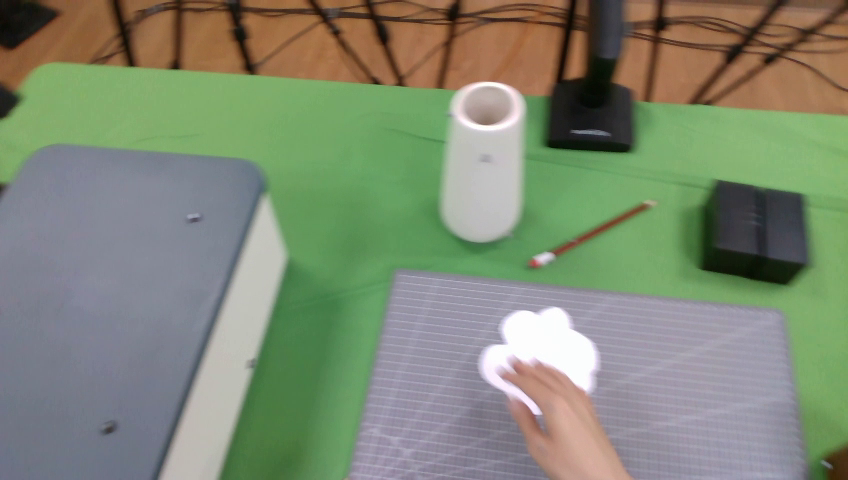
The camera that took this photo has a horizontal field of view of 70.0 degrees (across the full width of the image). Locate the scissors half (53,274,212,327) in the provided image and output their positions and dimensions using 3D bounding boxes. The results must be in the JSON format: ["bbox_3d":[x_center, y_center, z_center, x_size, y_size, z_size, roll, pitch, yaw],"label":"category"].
[{"bbox_3d":[-0.336,0.074,0.701,0.175,0.040,0.012,-17,27,-10],"label":"scissors half"}]

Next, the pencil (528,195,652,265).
[{"bbox_3d":[0.210,-0.015,0.751,0.194,0.012,0.012,-27,60,-16],"label":"pencil"}]

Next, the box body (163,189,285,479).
[{"bbox_3d":[-0.309,0.099,0.611,0.254,0.162,0.361,5,58,6],"label":"box body"}]

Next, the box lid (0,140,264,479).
[{"bbox_3d":[-0.312,0.056,0.548,0.263,0.015,0.368,6,58,4],"label":"box lid"}]

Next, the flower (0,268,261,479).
[{"bbox_3d":[-0.303,0.140,0.684,0.038,0.044,0.360,-6,30,37],"label":"flower"}]

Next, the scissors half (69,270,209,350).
[{"bbox_3d":[-0.331,0.086,0.707,0.175,0.040,0.012,-26,21,-5],"label":"scissors half"}]

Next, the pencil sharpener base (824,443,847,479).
[{"bbox_3d":[0.420,0.217,0.537,0.061,0.108,0.076,2,58,4],"label":"pencil sharpener base"}]

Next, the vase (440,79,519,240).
[{"bbox_3d":[0.063,-0.087,0.691,0.098,0.202,0.097,-2,56,3],"label":"vase"}]
